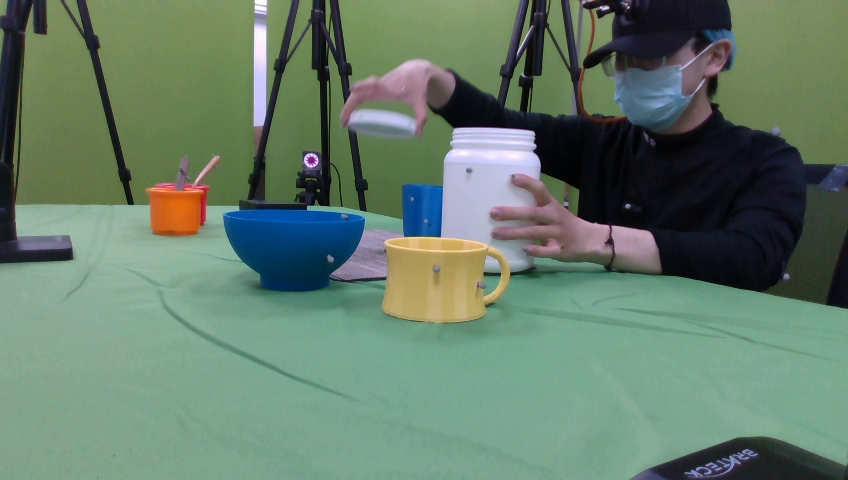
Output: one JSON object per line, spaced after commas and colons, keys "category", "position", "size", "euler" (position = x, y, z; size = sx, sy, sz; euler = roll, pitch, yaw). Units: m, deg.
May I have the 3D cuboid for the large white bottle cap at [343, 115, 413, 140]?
{"category": "large white bottle cap", "position": [-0.075, -0.186, 1.003], "size": [0.115, 0.018, 0.115], "euler": [7, 0, 0]}

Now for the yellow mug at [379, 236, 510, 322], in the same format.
{"category": "yellow mug", "position": [0.024, 0.034, 0.575], "size": [0.131, 0.064, 0.099], "euler": [1, 7, -22]}

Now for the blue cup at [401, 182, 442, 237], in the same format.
{"category": "blue cup", "position": [0.002, -0.038, 0.966], "size": [0.093, 0.100, 0.092], "euler": [4, 9, 0]}

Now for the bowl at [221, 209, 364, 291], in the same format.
{"category": "bowl", "position": [-0.142, 0.011, 0.660], "size": [0.151, 0.077, 0.151], "euler": [2, 7, 0]}

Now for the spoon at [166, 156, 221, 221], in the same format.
{"category": "spoon", "position": [-0.447, -0.104, 1.192], "size": [0.041, 0.022, 0.193], "euler": [7, 52, 14]}

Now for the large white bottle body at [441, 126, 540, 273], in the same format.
{"category": "large white bottle body", "position": [0.088, -0.056, 0.813], "size": [0.131, 0.184, 0.130], "euler": [2, 7, 0]}

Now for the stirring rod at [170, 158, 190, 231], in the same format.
{"category": "stirring rod", "position": [-0.427, -0.082, 1.060], "size": [0.014, 0.006, 0.175], "euler": [2, 50, -13]}
